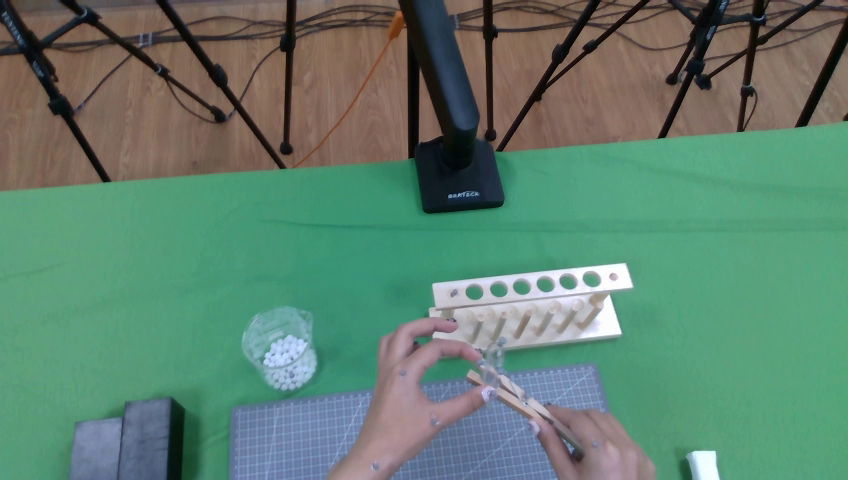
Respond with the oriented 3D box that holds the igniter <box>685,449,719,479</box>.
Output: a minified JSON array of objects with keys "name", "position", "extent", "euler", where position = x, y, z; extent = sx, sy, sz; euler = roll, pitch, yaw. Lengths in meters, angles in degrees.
[{"name":"igniter","position":[0.326,0.367,0.645],"extent":[0.057,0.025,0.274],"euler":[5,60,-12]}]

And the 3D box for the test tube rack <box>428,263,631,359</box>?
[{"name":"test tube rack","position":[0.131,0.089,0.757],"extent":[0.243,0.086,0.066],"euler":[-6,61,-7]}]

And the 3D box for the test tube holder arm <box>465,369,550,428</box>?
[{"name":"test tube holder arm","position":[0.078,0.148,0.563],"extent":[0.087,0.015,0.010],"euler":[29,67,11]}]

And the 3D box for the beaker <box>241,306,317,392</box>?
[{"name":"beaker","position":[-0.162,0.130,0.709],"extent":[0.084,0.101,0.073],"euler":[-38,69,-22]}]

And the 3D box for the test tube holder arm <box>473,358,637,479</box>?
[{"name":"test tube holder arm","position":[0.118,0.167,0.555],"extent":[0.177,0.015,0.013],"euler":[35,69,13]}]

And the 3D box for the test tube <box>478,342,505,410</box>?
[{"name":"test tube","position":[0.061,0.131,0.566],"extent":[0.017,0.151,0.017],"euler":[0,58,1]}]
